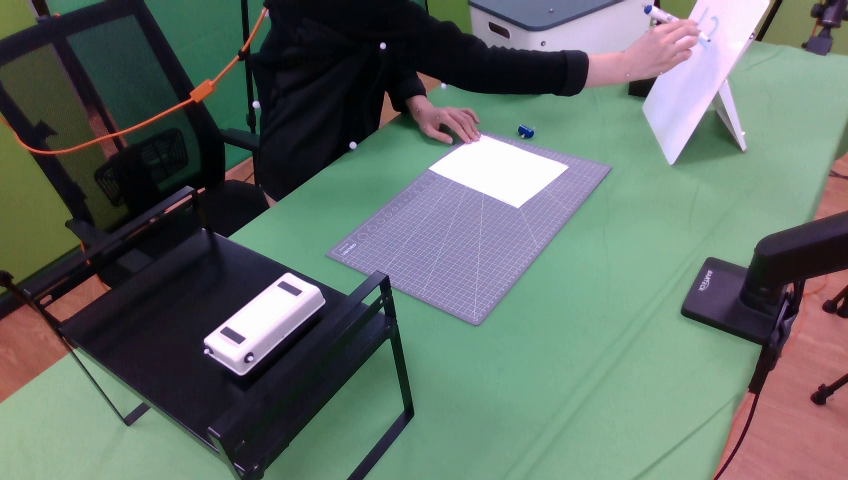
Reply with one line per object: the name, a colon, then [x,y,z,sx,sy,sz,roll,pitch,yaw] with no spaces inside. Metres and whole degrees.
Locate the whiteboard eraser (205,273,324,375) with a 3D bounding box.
whiteboard eraser: [-0.157,0.084,0.605,0.055,0.042,0.113,24,49,30]

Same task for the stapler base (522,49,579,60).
stapler base: [0.300,-0.441,1.433,0.130,0.024,0.041,3,23,18]

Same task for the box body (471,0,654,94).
box body: [0.319,-0.498,1.405,0.365,0.161,0.252,-26,43,-21]

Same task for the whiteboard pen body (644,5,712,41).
whiteboard pen body: [0.416,-0.350,0.982,0.142,0.017,0.017,15,36,-20]

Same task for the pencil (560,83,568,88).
pencil: [0.248,-0.393,1.398,0.193,0.012,0.012,32,53,24]

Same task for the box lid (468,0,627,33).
box lid: [0.312,-0.554,1.358,0.373,0.015,0.261,-26,44,-20]

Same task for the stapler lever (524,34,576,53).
stapler lever: [0.297,-0.462,1.424,0.117,0.040,0.027,5,23,17]

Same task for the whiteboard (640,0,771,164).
whiteboard: [0.543,-0.299,1.076,0.144,0.305,0.216,12,40,-7]

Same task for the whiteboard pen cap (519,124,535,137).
whiteboard pen cap: [0.206,-0.218,1.204,0.018,0.018,0.033,-28,44,-22]
